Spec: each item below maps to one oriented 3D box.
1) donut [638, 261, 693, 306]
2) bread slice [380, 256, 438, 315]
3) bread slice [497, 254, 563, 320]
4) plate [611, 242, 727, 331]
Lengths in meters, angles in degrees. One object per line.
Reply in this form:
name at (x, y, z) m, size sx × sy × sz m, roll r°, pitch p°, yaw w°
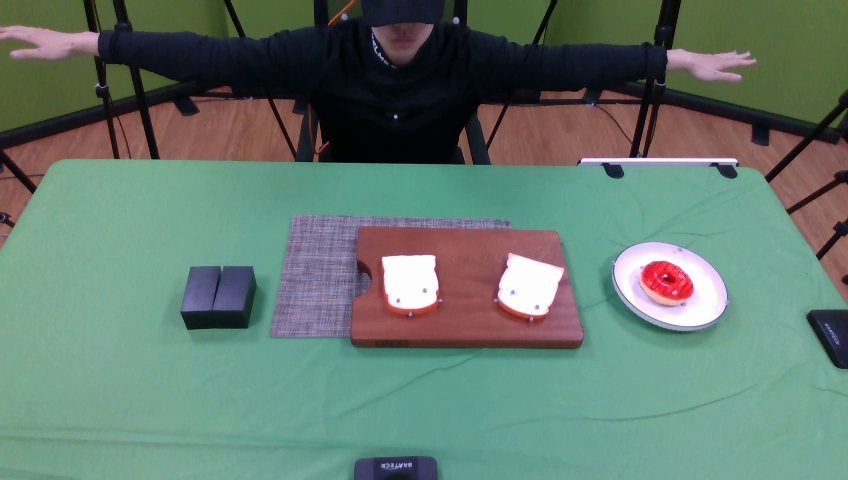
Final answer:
donut at (0.451, 0.081, 1.131) m, size 0.099 × 0.048 × 0.098 m, roll 4°, pitch 44°, yaw -3°
bread slice at (-0.024, 0.079, 1.087) m, size 0.105 × 0.019 × 0.130 m, roll -3°, pitch 45°, yaw -6°
bread slice at (0.189, 0.087, 1.095) m, size 0.107 × 0.018 × 0.134 m, roll 15°, pitch 45°, yaw 10°
plate at (0.455, 0.090, 1.138) m, size 0.209 × 0.038 × 0.208 m, roll 3°, pitch 45°, yaw -2°
